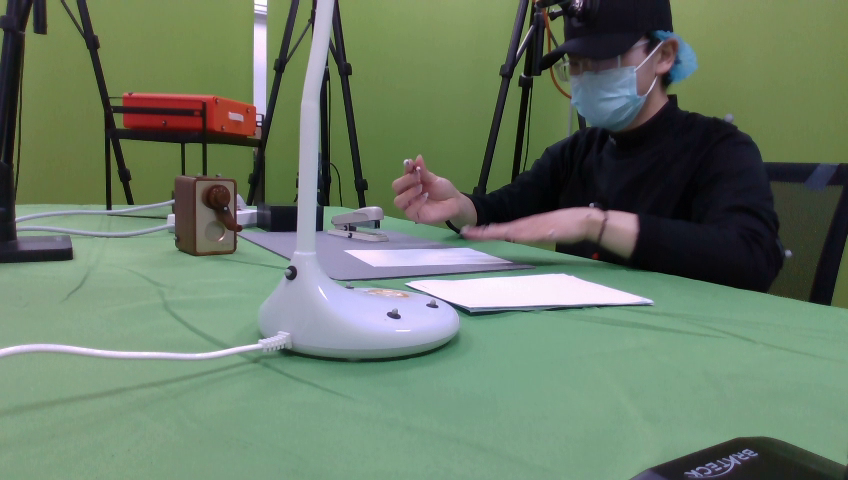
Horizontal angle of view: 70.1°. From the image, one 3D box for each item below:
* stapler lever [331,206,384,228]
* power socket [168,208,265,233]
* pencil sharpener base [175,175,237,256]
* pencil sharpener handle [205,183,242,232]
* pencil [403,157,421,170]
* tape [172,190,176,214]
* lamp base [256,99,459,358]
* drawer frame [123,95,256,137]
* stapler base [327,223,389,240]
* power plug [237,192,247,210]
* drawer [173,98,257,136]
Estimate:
[{"bbox_3d":[-0.118,-0.043,1.070,0.117,0.040,0.027,7,8,41],"label":"stapler lever"},{"bbox_3d":[-0.381,-0.038,1.129,0.072,0.032,0.227,4,8,17],"label":"power socket"},{"bbox_3d":[-0.304,-0.035,0.847,0.062,0.107,0.076,-4,10,-42],"label":"pencil sharpener base"},{"bbox_3d":[-0.265,-0.043,0.812,0.036,0.068,0.030,-32,28,-35],"label":"pencil sharpener handle"},{"bbox_3d":[-0.019,-0.124,0.987,0.012,0.012,0.193,1,11,-8],"label":"pencil"},{"bbox_3d":[-0.515,-0.087,1.388,0.117,0.052,0.117,3,7,0],"label":"tape"},{"bbox_3d":[-0.055,-0.013,0.463,0.160,0.180,0.180,6,11,27],"label":"lamp base"},{"bbox_3d":[-0.524,-0.281,1.376,0.213,0.082,0.202,3,8,8],"label":"drawer frame"},{"bbox_3d":[-0.117,-0.018,1.073,0.130,0.024,0.041,7,8,41],"label":"stapler base"},{"bbox_3d":[-0.386,-0.071,1.204,0.072,0.052,0.035,7,8,26],"label":"power plug"},{"bbox_3d":[-0.518,-0.279,1.376,0.211,0.073,0.195,3,8,9],"label":"drawer"}]
